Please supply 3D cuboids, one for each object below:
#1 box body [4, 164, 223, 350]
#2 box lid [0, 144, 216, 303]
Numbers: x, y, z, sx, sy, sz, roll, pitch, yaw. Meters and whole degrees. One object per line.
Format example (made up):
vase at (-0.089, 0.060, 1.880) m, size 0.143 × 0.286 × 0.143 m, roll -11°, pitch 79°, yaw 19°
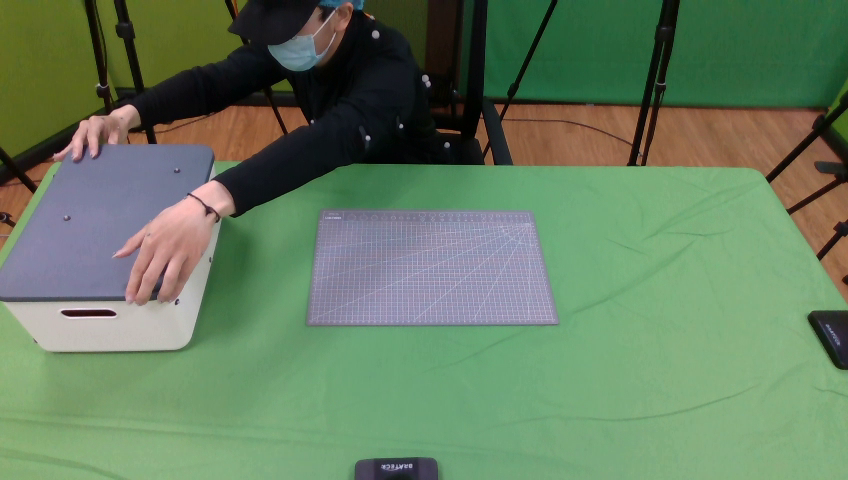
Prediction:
box body at (-0.510, 0.008, 1.054) m, size 0.254 × 0.161 × 0.361 m, roll -1°, pitch 46°, yaw -5°
box lid at (-0.506, -0.045, 1.001) m, size 0.263 × 0.015 × 0.369 m, roll 0°, pitch 46°, yaw -5°
